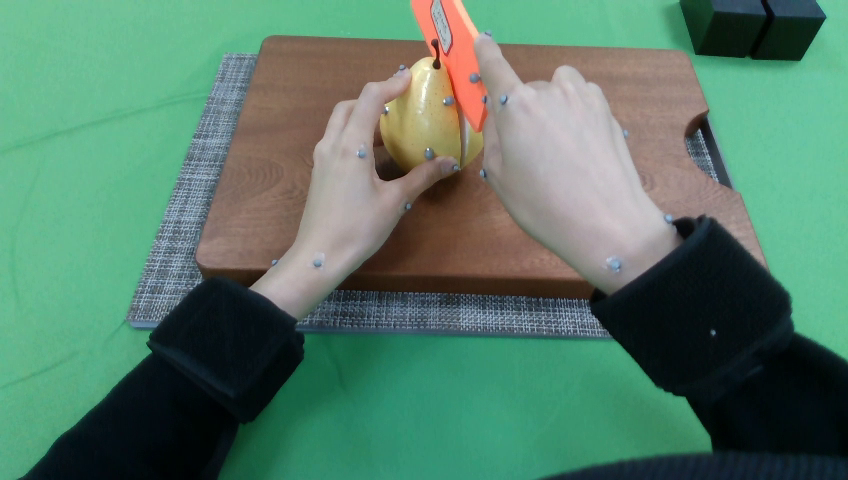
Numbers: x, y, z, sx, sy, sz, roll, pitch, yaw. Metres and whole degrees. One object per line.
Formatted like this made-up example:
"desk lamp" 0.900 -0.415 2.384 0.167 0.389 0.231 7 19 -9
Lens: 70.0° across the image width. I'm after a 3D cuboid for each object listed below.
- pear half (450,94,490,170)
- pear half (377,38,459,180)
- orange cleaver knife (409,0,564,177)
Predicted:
"pear half" 0.032 -0.096 0.451 0.031 0.088 0.069 -13 51 -19
"pear half" -0.007 -0.094 0.434 0.056 0.111 0.075 -17 50 -12
"orange cleaver knife" 0.030 -0.107 0.388 0.012 0.078 0.209 -16 58 -15
